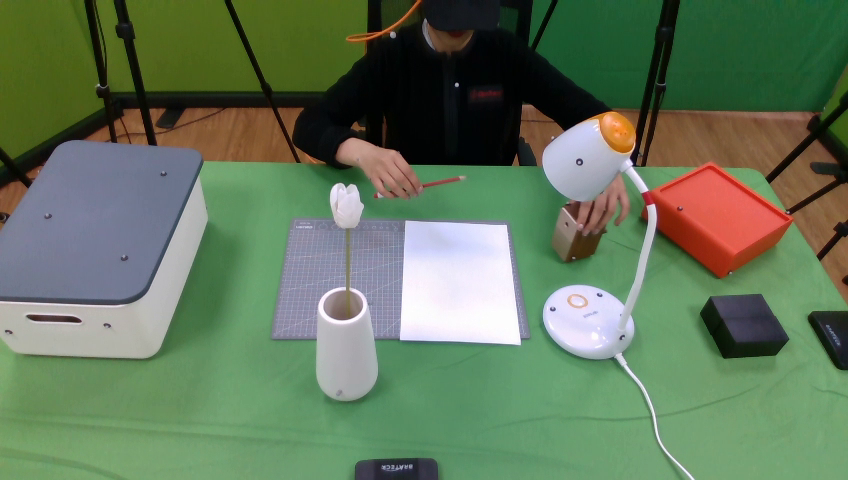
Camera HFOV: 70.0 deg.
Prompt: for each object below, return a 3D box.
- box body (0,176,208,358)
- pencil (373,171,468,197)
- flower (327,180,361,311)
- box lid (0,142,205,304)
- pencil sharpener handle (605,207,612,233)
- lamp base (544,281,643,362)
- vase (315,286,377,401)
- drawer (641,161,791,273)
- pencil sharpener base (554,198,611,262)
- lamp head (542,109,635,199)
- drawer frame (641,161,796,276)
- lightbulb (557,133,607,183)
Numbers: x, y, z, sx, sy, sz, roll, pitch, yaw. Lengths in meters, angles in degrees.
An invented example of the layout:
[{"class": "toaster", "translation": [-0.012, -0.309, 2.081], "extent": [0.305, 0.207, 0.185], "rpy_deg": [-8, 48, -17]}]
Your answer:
[{"class": "box body", "translation": [-0.546, 0.017, 1.045], "extent": [0.254, 0.161, 0.361], "rpy_deg": [2, 46, -2]}, {"class": "pencil", "translation": [-0.008, -0.108, 1.161], "extent": [0.194, 0.012, 0.012], "rpy_deg": [-13, 44, 16]}, {"class": "flower", "translation": [-0.110, 0.086, 0.867], "extent": [0.044, 0.363, 0.038], "rpy_deg": [22, 33, 35]}, {"class": "box lid", "translation": [-0.533, -0.044, 0.995], "extent": [0.263, 0.015, 0.369], "rpy_deg": [3, 45, -3]}, {"class": "pencil sharpener handle", "translation": [0.354, -0.040, 1.176], "extent": [0.031, 0.068, 0.035], "rpy_deg": [-15, 42, -20]}, {"class": "lamp base", "translation": [0.304, 0.095, 1.014], "extent": [0.161, 0.181, 0.178], "rpy_deg": [-24, 54, -24]}, {"class": "vase", "translation": [-0.119, 0.159, 0.911], "extent": [0.098, 0.201, 0.097], "rpy_deg": [2, 47, -2]}, {"class": "drawer", "translation": [0.595, -0.052, 1.245], "extent": [0.194, 0.073, 0.210], "rpy_deg": [-23, 52, -25]}, {"class": "pencil sharpener base", "translation": [0.306, -0.020, 1.168], "extent": [0.077, 0.107, 0.061], "rpy_deg": [-15, 48, -20]}, {"class": "lamp head", "translation": [0.253, -0.131, 0.893], "extent": [0.113, 0.123, 0.112], "rpy_deg": [10, 66, -24]}, {"class": "drawer frame", "translation": [0.599, -0.051, 1.244], "extent": [0.202, 0.083, 0.212], "rpy_deg": [-24, 52, -25]}, {"class": "lightbulb", "translation": [0.243, -0.127, 0.916], "extent": [0.059, 0.108, 0.059], "rpy_deg": [5, 67, -13]}]
